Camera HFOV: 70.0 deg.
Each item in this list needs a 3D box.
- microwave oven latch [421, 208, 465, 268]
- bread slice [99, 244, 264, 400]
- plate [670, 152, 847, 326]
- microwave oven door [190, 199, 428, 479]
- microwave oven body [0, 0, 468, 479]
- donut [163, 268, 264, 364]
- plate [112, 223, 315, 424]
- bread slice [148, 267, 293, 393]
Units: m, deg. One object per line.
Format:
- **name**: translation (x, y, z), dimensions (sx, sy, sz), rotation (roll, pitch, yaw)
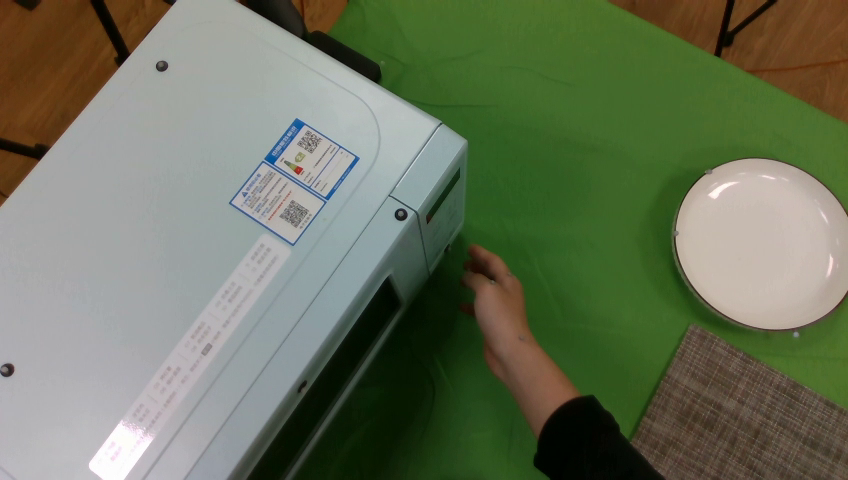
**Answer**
- **microwave oven latch**: translation (0.017, -0.008, 0.709), dimensions (0.030, 0.029, 0.079), rotation (34, 80, 10)
- **bread slice**: translation (-0.227, 0.069, 0.592), dimensions (0.107, 0.018, 0.134), rotation (43, 73, 2)
- **plate**: translation (0.391, -0.001, 0.711), dimensions (0.207, 0.039, 0.206), rotation (-1, 75, 2)
- **microwave oven door**: translation (-0.112, 0.141, 0.569), dimensions (0.039, 0.245, 0.355), rotation (32, 78, 11)
- **microwave oven body**: translation (-0.209, 0.032, 0.608), dimensions (0.325, 0.261, 0.441), rotation (32, 79, 10)
- **donut**: translation (-0.213, 0.077, 0.616), dimensions (0.099, 0.048, 0.098), rotation (3, 73, -10)
- **plate**: translation (-0.218, 0.086, 0.643), dimensions (0.209, 0.038, 0.208), rotation (0, 78, -1)
- **bread slice**: translation (-0.225, 0.101, 0.659), dimensions (0.131, 0.019, 0.104), rotation (-35, 78, -29)
